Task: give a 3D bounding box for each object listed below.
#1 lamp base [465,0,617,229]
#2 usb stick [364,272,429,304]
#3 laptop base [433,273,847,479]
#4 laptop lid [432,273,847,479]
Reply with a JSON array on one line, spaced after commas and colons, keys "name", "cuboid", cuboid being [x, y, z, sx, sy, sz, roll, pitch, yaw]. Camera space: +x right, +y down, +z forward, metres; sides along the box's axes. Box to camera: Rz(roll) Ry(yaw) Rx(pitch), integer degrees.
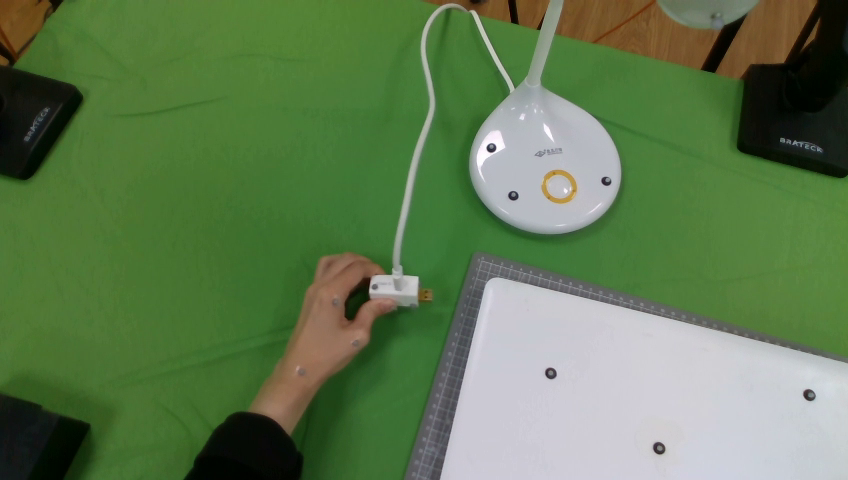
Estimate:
[{"name": "lamp base", "cuboid": [0.118, -0.126, 0.574, 0.161, 0.181, 0.177, -21, 66, -9]}, {"name": "usb stick", "cuboid": [-0.025, 0.045, 0.563, 0.059, 0.027, 0.021, 3, 54, 1]}, {"name": "laptop base", "cuboid": [0.197, 0.177, 0.533, 0.354, 0.023, 0.234, 13, 71, 5]}, {"name": "laptop lid", "cuboid": [0.196, 0.175, 0.522, 0.356, 0.013, 0.240, 15, 70, 5]}]
